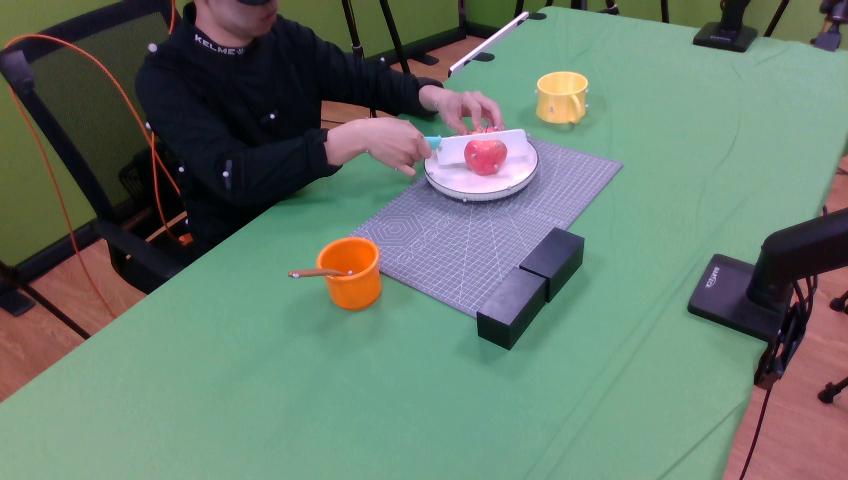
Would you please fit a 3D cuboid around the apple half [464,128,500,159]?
[{"bbox_3d":[0.110,-0.167,1.090,0.081,0.075,0.053,-3,34,7],"label":"apple half"}]

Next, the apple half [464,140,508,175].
[{"bbox_3d":[0.109,-0.139,1.060,0.081,0.081,0.032,-1,44,7],"label":"apple half"}]

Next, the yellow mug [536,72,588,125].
[{"bbox_3d":[0.285,-0.281,1.222,0.100,0.064,0.130,-16,42,-9],"label":"yellow mug"}]

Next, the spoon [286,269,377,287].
[{"bbox_3d":[-0.125,0.050,0.832,0.041,0.195,0.021,22,92,28],"label":"spoon"}]

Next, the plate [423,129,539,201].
[{"bbox_3d":[0.103,-0.132,1.092,0.209,0.038,0.208,-4,40,4],"label":"plate"}]

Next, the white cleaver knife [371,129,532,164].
[{"bbox_3d":[0.044,-0.159,1.067,0.286,0.066,0.021,-2,44,11],"label":"white cleaver knife"}]
